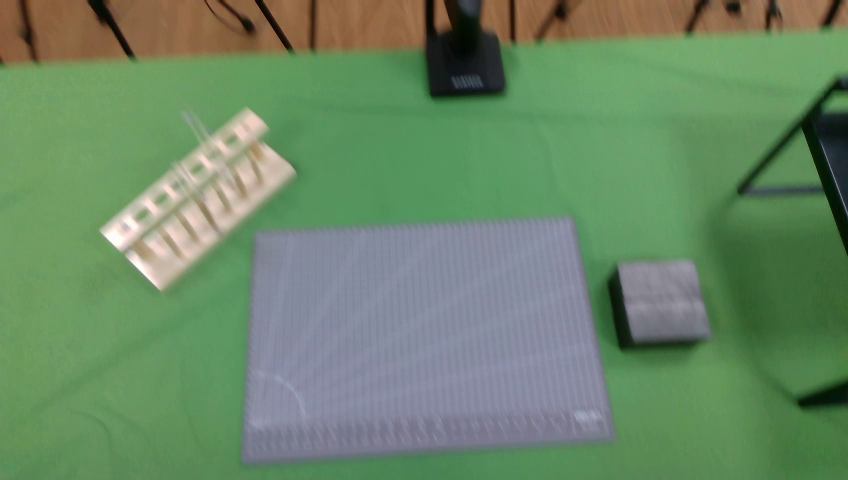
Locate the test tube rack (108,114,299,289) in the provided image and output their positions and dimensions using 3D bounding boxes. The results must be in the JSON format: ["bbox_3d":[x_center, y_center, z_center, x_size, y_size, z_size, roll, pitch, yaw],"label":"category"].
[{"bbox_3d":[-0.285,-0.053,0.811,0.066,0.086,0.242,39,70,16],"label":"test tube rack"}]

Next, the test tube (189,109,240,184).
[{"bbox_3d":[-0.268,-0.117,0.787,0.017,0.151,0.017,-2,63,3],"label":"test tube"}]

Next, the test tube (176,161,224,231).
[{"bbox_3d":[-0.280,-0.052,0.762,0.017,0.151,0.017,0,62,-1],"label":"test tube"}]
